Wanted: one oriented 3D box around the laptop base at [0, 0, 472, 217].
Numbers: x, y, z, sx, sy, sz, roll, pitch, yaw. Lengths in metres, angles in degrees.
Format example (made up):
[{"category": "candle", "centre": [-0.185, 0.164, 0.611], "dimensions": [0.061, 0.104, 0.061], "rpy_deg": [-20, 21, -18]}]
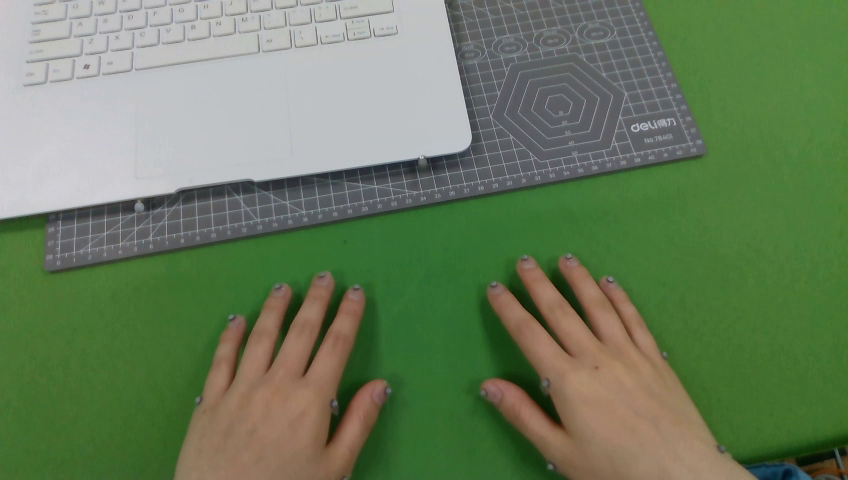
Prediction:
[{"category": "laptop base", "centre": [-0.156, -0.141, 0.453], "dimensions": [0.354, 0.023, 0.233], "rpy_deg": [-9, 70, -2]}]
